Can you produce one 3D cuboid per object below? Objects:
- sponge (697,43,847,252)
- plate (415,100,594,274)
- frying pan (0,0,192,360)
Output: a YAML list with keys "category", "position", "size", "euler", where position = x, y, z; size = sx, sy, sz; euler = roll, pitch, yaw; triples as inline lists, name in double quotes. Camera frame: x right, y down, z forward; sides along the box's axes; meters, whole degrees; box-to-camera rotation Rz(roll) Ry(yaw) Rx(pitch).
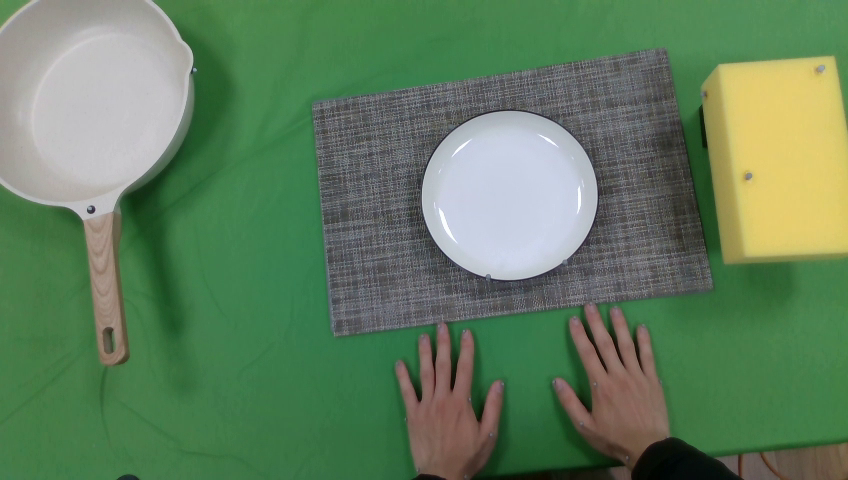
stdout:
- category: "sponge"
  position: [0.370, -0.094, 0.640]
  size: [0.118, 0.061, 0.206]
  euler: [-5, 82, 5]
- category: "plate"
  position: [0.094, -0.061, 0.721]
  size: [0.207, 0.039, 0.207]
  euler: [-1, 82, 5]
- category: "frying pan"
  position: [-0.405, -0.090, 0.744]
  size: [0.307, 0.103, 0.484]
  euler: [-16, 73, 4]
